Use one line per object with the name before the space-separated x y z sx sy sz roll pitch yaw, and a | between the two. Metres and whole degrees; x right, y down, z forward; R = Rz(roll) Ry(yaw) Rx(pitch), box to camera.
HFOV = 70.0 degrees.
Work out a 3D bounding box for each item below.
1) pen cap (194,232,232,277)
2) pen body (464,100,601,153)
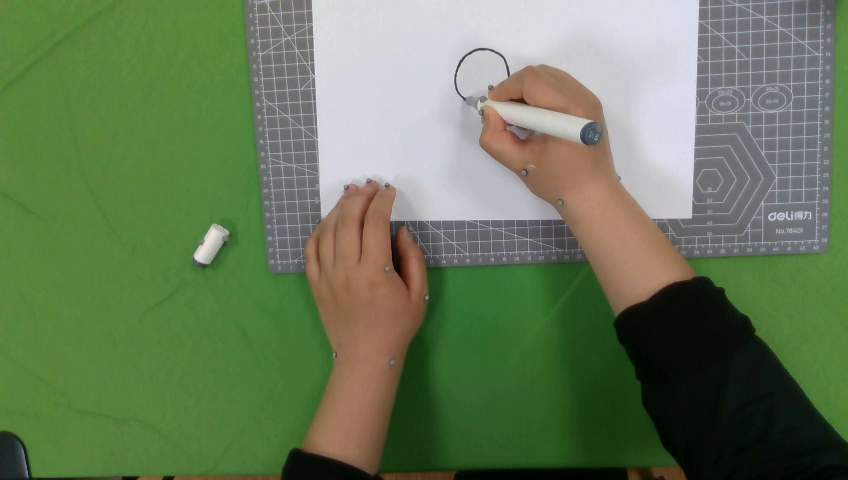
pen cap | -0.179 0.013 0.511 0.017 0.017 0.038 36 98 1
pen body | 0.068 -0.084 0.426 0.017 0.142 0.017 -14 117 -27
